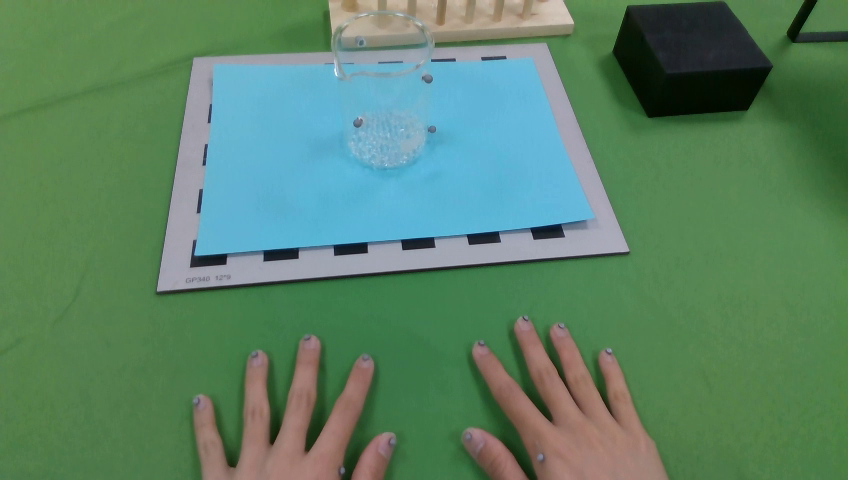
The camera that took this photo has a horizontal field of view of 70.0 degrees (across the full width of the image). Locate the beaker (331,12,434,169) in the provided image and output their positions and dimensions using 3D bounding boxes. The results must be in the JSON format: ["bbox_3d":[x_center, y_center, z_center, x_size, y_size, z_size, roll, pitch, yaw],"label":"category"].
[{"bbox_3d":[-0.034,-0.111,0.472,0.073,0.101,0.084,35,59,21],"label":"beaker"}]

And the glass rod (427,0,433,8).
[{"bbox_3d":[0.020,-0.298,0.545,0.008,0.201,0.008,5,55,-7],"label":"glass rod"}]

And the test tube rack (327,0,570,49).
[{"bbox_3d":[0.026,-0.250,0.592,0.243,0.086,0.066,-6,53,-7],"label":"test tube rack"}]
